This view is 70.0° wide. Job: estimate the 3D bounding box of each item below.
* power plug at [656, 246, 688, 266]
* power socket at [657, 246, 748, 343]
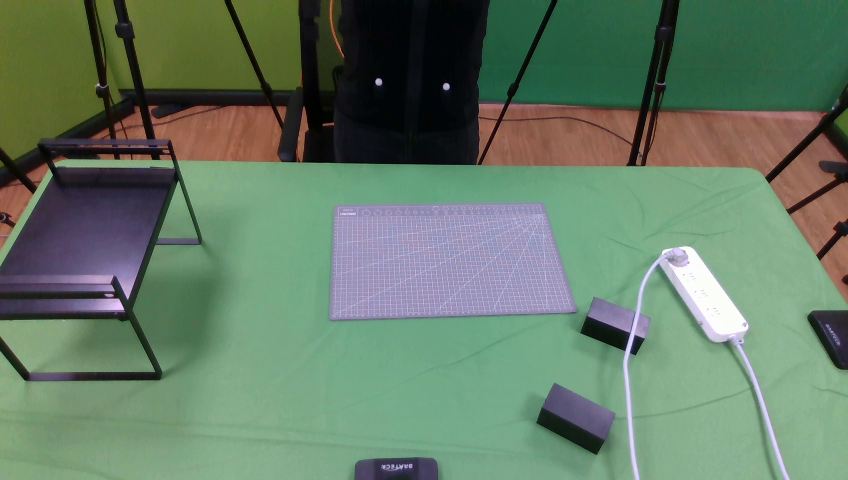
[{"bbox_3d":[0.471,0.035,1.165,0.072,0.053,0.035,-2,46,-2],"label":"power plug"},{"bbox_3d":[0.517,0.096,1.135,0.072,0.033,0.225,-8,48,-11],"label":"power socket"}]
